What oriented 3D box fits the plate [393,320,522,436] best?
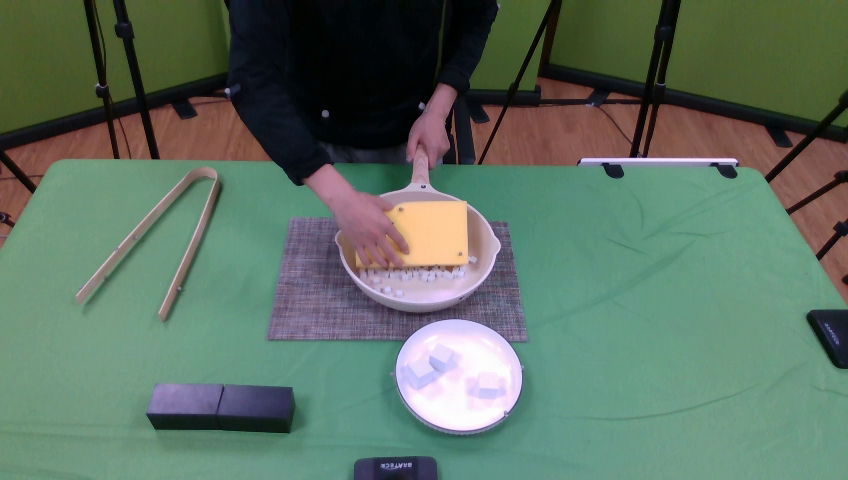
[{"bbox_3d":[0.053,0.222,0.979,0.208,0.039,0.206,3,46,-2],"label":"plate"}]

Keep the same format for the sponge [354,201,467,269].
[{"bbox_3d":[-0.027,-0.009,1.127,0.207,0.061,0.118,-2,84,-7],"label":"sponge"}]

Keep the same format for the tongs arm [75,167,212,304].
[{"bbox_3d":[-0.525,-0.021,1.167,0.051,0.026,0.383,13,46,7],"label":"tongs arm"}]

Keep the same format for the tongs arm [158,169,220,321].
[{"bbox_3d":[-0.446,-0.005,1.164,0.028,0.028,0.385,2,46,0],"label":"tongs arm"}]

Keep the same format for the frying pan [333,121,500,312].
[{"bbox_3d":[-0.010,-0.063,1.195,0.307,0.103,0.485,4,55,-2],"label":"frying pan"}]
